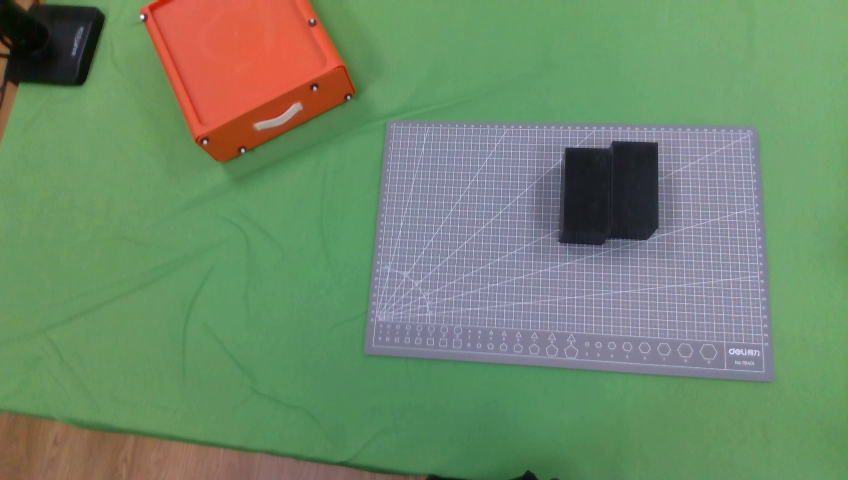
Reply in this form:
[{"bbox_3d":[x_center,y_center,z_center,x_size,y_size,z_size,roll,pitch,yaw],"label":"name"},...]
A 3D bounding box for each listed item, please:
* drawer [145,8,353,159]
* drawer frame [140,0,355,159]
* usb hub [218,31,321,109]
[{"bbox_3d":[-0.225,-0.239,0.779,0.194,0.074,0.210,-28,72,-2],"label":"drawer"},{"bbox_3d":[-0.225,-0.243,0.776,0.202,0.083,0.212,-28,73,-2],"label":"drawer frame"},{"bbox_3d":[-0.199,-0.219,0.780,0.125,0.025,0.049,-23,87,8],"label":"usb hub"}]
